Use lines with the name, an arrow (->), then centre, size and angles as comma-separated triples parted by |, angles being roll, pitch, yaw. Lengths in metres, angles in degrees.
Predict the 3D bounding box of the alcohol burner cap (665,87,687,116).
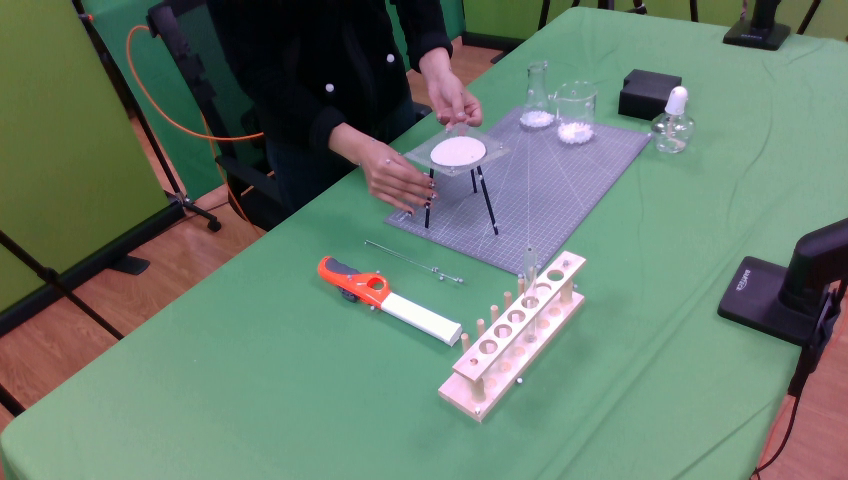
alcohol burner cap -> 0.445, -0.244, 1.060 | 0.034, 0.048, 0.033 | -2, 45, 3

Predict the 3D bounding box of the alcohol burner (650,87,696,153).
alcohol burner -> 0.448, -0.217, 1.084 | 0.078, 0.119, 0.077 | -6, 38, 5

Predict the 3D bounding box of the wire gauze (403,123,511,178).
wire gauze -> 0.051, -0.140, 0.943 | 0.125, 0.011, 0.120 | -30, 43, -24

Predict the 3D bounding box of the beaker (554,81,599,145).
beaker -> 0.286, -0.237, 1.144 | 0.084, 0.101, 0.073 | -17, 40, -7

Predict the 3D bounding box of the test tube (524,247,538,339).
test tube -> 0.133, 0.070, 0.749 | 0.017, 0.151, 0.017 | -5, 38, 4

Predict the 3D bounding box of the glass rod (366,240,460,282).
glass rod -> -0.022, 0.032, 0.961 | 0.198, 0.008, 0.008 | 21, 49, 35

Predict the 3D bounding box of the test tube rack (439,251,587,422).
test tube rack -> 0.118, 0.111, 0.780 | 0.066, 0.085, 0.243 | 26, 51, 35

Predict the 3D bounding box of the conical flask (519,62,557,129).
conical flask -> 0.225, -0.288, 1.198 | 0.075, 0.122, 0.075 | -6, 40, 5

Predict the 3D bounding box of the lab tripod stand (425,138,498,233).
lab tripod stand -> 0.064, -0.091, 0.988 | 0.148, 0.132, 0.147 | -6, 39, 6

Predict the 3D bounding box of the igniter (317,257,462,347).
igniter -> -0.061, 0.086, 0.891 | 0.274, 0.025, 0.057 | 23, 59, 33
